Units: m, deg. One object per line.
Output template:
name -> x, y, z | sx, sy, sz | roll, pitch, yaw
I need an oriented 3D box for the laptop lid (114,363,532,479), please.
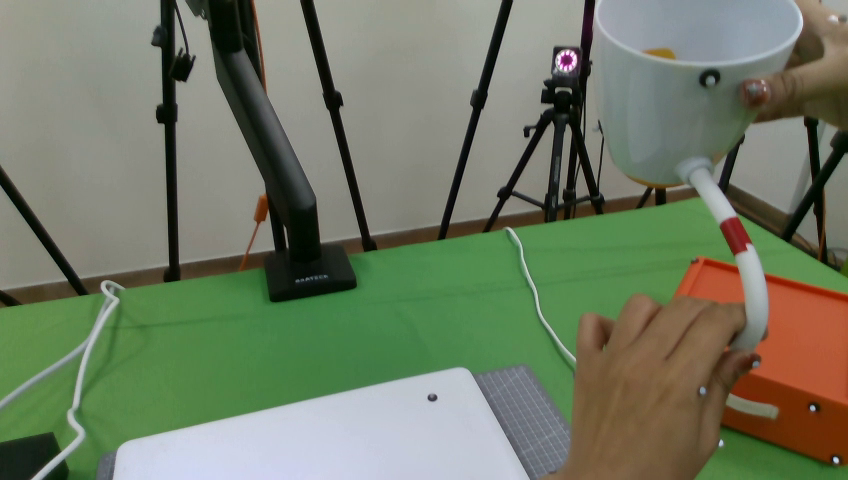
laptop lid -> -0.085, 0.217, 0.525 | 0.358, 0.013, 0.239 | -8, 32, -14

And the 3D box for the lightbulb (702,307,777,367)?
lightbulb -> 0.360, 0.114, 0.687 | 0.059, 0.060, 0.107 | -3, 13, -4

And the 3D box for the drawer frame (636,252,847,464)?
drawer frame -> 0.367, 0.113, 0.670 | 0.200, 0.083, 0.213 | 16, 32, 28

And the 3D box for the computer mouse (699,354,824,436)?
computer mouse -> 0.346, 0.155, 0.622 | 0.116, 0.041, 0.062 | 17, 32, 19

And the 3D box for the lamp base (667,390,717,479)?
lamp base -> 0.178, 0.204, 0.402 | 0.160, 0.181, 0.178 | 2, 27, 0

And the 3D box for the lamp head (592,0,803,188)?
lamp head -> 0.160, -0.093, 0.381 | 0.112, 0.124, 0.111 | -5, 43, 5

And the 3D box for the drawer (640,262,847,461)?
drawer -> 0.367, 0.116, 0.668 | 0.193, 0.074, 0.211 | 16, 32, 28

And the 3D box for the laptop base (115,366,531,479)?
laptop base -> -0.085, 0.226, 0.533 | 0.355, 0.023, 0.233 | -9, 34, -16
